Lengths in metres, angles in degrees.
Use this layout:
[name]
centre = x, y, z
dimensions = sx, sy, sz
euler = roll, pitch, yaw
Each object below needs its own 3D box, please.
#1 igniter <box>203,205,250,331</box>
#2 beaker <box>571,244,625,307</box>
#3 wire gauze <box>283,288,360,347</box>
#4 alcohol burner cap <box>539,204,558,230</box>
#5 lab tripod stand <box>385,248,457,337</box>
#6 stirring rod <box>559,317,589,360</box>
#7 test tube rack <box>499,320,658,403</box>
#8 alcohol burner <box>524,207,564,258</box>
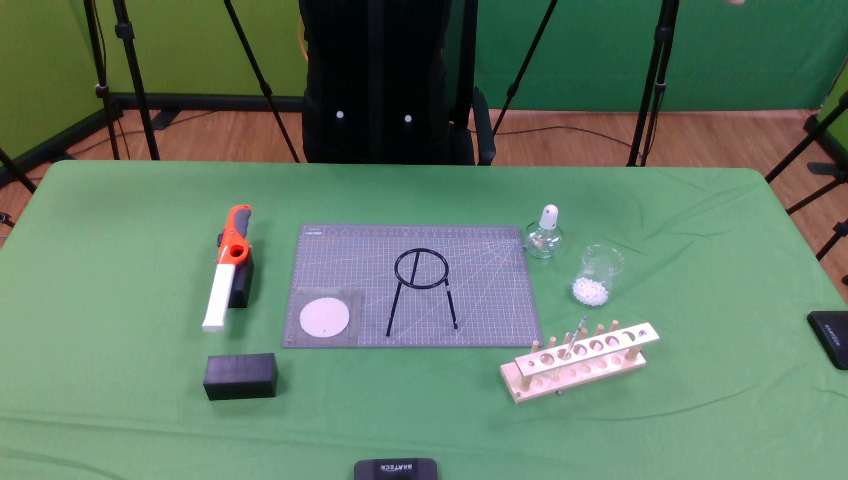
[igniter]
centre = -0.345, 0.038, 1.065
dimensions = 0.057, 0.025, 0.274
euler = 3, 49, -6
[beaker]
centre = 0.315, 0.067, 1.105
dimensions = 0.084, 0.101, 0.073
euler = -9, 48, -13
[wire gauze]
centre = -0.178, 0.132, 1.063
dimensions = 0.125, 0.011, 0.120
euler = 2, 46, 1
[alcohol burner cap]
centre = 0.239, -0.046, 1.148
dimensions = 0.034, 0.048, 0.033
euler = 1, 43, -1
[lab tripod stand]
centre = -0.010, 0.087, 1.032
dimensions = 0.148, 0.132, 0.147
euler = 1, 45, -1
[stirring rod]
centre = 0.221, 0.155, 0.912
dimensions = 0.014, 0.177, 0.006
euler = 5, 58, 2
[test tube rack]
centre = 0.252, 0.187, 0.994
dimensions = 0.243, 0.085, 0.066
euler = -12, 48, -15
[alcohol burner]
centre = 0.236, -0.021, 1.174
dimensions = 0.078, 0.120, 0.077
euler = 1, 48, -1
